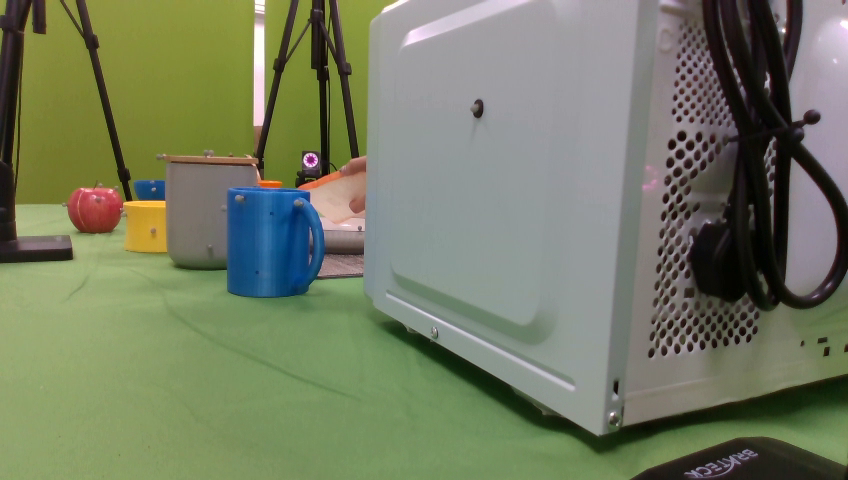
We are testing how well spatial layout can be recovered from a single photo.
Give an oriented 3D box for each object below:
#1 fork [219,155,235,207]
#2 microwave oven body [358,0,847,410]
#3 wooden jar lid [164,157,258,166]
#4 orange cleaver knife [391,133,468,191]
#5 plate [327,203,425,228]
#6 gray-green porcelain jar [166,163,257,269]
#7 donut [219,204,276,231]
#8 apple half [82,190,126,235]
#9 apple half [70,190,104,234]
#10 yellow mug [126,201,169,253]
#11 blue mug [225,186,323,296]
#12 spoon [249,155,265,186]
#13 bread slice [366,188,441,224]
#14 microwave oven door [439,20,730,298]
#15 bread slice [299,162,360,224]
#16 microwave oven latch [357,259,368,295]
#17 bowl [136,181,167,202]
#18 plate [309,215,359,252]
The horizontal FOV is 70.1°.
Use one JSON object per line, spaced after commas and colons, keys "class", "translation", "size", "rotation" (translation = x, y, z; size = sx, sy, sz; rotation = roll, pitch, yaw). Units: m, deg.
{"class": "fork", "translation": [-0.459, -0.134, 1.415], "size": [0.028, 0.018, 0.207], "rotation": [-1, -34, -25]}
{"class": "microwave oven body", "translation": [0.210, -0.051, 0.471], "size": [0.444, 0.260, 0.324], "rotation": [-1, 7, -28]}
{"class": "wooden jar lid", "translation": [-0.261, -0.093, 0.746], "size": [0.108, 0.020, 0.108], "rotation": [0, 9, 0]}
{"class": "orange cleaver knife", "translation": [0.015, -0.133, 1.130], "size": [0.012, 0.077, 0.212], "rotation": [1, -12, 41]}
{"class": "plate", "translation": [-0.102, -0.053, 1.299], "size": [0.209, 0.038, 0.209], "rotation": [2, 8, 0]}
{"class": "gray-green porcelain jar", "translation": [-0.263, -0.031, 0.754], "size": [0.106, 0.126, 0.106], "rotation": [2, 7, 0]}
{"class": "donut", "translation": [-0.316, -0.039, 1.083], "size": [0.099, 0.048, 0.099], "rotation": [2, 7, 0]}
{"class": "apple half", "translation": [-0.516, -0.046, 0.994], "size": [0.032, 0.081, 0.081], "rotation": [0, 6, 26]}
{"class": "apple half", "translation": [-0.552, -0.048, 1.010], "size": [0.053, 0.074, 0.081], "rotation": [-1, 10, 26]}
{"class": "yellow mug", "translation": [-0.361, -0.019, 0.866], "size": [0.130, 0.064, 0.100], "rotation": [7, 9, 27]}
{"class": "blue mug", "translation": [-0.148, 0.000, 0.618], "size": [0.116, 0.106, 0.083], "rotation": [7, 9, 33]}
{"class": "spoon", "translation": [-0.417, -0.150, 1.543], "size": [0.042, 0.193, 0.021], "rotation": [-3, -35, -34]}
{"class": "bread slice", "translation": [-0.046, -0.063, 1.138], "size": [0.107, 0.018, 0.134], "rotation": [-8, -16, -40]}
{"class": "microwave oven door", "translation": [0.181, -0.076, 0.618], "size": [0.358, 0.243, 0.039], "rotation": [-2, 8, -28]}
{"class": "bread slice", "translation": [-0.117, -0.076, 0.952], "size": [0.131, 0.019, 0.105], "rotation": [-22, -37, 21]}
{"class": "microwave oven latch", "translation": [-0.019, 0.031, 0.529], "size": [0.079, 0.029, 0.030], "rotation": [-1, 7, -27]}
{"class": "bowl", "translation": [-0.497, -0.076, 1.221], "size": [0.151, 0.077, 0.151], "rotation": [2, 8, 0]}
{"class": "plate", "translation": [-0.130, -0.011, 0.945], "size": [0.208, 0.039, 0.207], "rotation": [2, 8, 0]}
